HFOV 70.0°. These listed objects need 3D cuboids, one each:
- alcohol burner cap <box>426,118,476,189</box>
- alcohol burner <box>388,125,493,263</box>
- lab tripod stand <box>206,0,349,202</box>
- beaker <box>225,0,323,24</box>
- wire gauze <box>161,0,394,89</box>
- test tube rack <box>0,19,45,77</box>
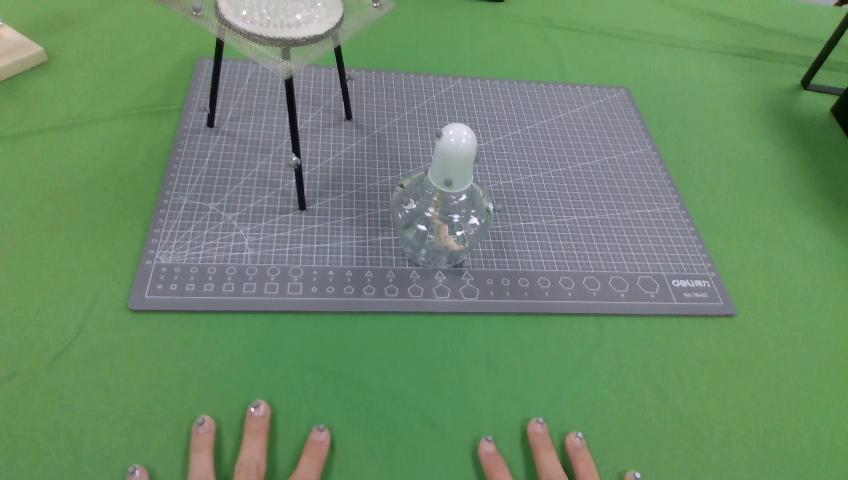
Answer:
[{"bbox_3d":[0.020,-0.060,0.410,0.034,0.048,0.033,3,54,-4],"label":"alcohol burner cap"},{"bbox_3d":[0.015,-0.038,0.439,0.078,0.120,0.077,6,49,-7],"label":"alcohol burner"},{"bbox_3d":[-0.109,-0.125,0.476,0.149,0.132,0.147,6,50,-7],"label":"lab tripod stand"},{"bbox_3d":[-0.101,-0.199,0.389,0.073,0.101,0.084,33,53,16],"label":"beaker"},{"bbox_3d":[-0.103,-0.167,0.426,0.124,0.011,0.121,34,55,13],"label":"wire gauze"},{"bbox_3d":[-0.439,-0.143,0.467,0.066,0.086,0.241,32,52,16],"label":"test tube rack"}]
